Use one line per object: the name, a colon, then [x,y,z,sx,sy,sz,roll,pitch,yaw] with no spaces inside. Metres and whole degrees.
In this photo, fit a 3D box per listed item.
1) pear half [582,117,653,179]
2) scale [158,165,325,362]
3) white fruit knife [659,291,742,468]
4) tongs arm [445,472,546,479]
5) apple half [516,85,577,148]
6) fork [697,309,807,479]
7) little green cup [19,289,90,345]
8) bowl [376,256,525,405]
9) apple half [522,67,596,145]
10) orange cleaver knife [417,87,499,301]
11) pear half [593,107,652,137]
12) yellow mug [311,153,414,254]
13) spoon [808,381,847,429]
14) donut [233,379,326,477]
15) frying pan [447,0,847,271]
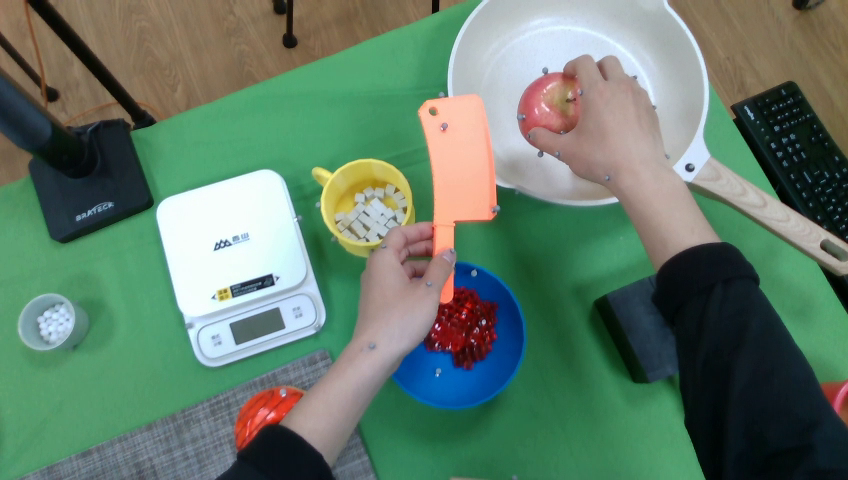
pear half: [0.214,-0.101,0.667,0.076,0.110,0.056,13,78,7]
scale: [-0.207,0.023,0.685,0.149,0.032,0.200,-18,78,-3]
white fruit knife: [0.287,0.147,0.632,0.016,0.027,0.207,-25,93,-5]
tongs arm: [0.214,0.272,0.629,0.387,0.028,0.028,7,70,2]
apple half: [0.117,-0.116,0.619,0.033,0.081,0.081,-44,80,-9]
fork: [0.347,0.164,0.636,0.028,0.018,0.207,-32,95,-9]
little green cup: [-0.405,0.088,0.668,0.061,0.039,0.061,0,77,0]
bowl: [0.027,0.097,0.645,0.151,0.077,0.150,0,77,0]
apple half: [0.144,-0.143,0.624,0.053,0.075,0.080,-44,82,-8]
orange cleaver knife: [0.033,-0.048,0.570,0.077,0.012,0.210,1,78,-12]
pear half: [0.225,-0.133,0.684,0.070,0.088,0.031,14,81,6]
yellow mug: [-0.075,-0.048,0.683,0.130,0.064,0.100,34,80,8]
spoon: [0.460,0.206,0.585,0.041,0.022,0.191,-28,34,-6]
donut: [-0.151,0.196,0.636,0.099,0.048,0.098,0,79,2]
frying pan: [0.249,-0.116,0.678,0.485,0.103,0.306,39,81,16]
